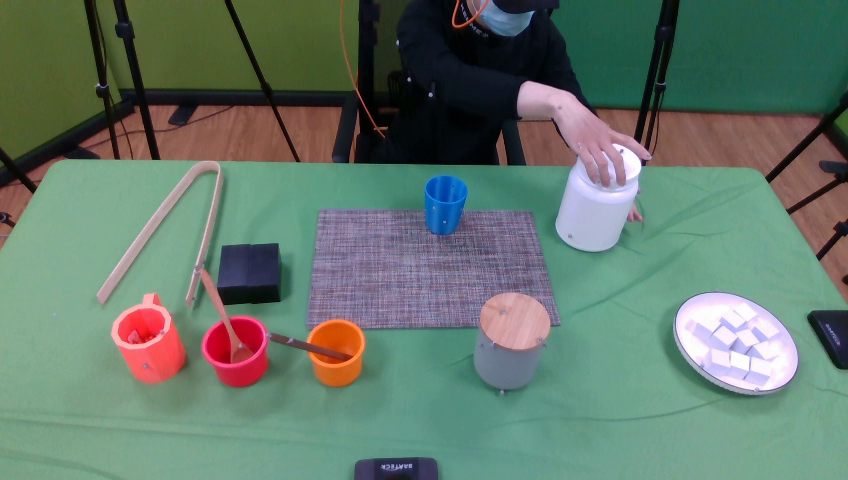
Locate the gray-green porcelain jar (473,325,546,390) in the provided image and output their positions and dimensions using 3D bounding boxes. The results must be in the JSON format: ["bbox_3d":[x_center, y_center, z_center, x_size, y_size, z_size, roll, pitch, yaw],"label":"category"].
[{"bbox_3d":[0.135,0.170,0.969,0.106,0.127,0.105,2,46,-2],"label":"gray-green porcelain jar"}]

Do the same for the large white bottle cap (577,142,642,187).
[{"bbox_3d":[0.343,-0.142,1.123,0.115,0.018,0.114,1,46,-1],"label":"large white bottle cap"}]

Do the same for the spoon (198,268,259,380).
[{"bbox_3d":[-0.313,0.132,0.962,0.041,0.021,0.194,-24,96,-21],"label":"spoon"}]

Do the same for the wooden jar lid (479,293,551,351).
[{"bbox_3d":[0.137,0.127,0.925,0.108,0.021,0.107,1,47,-1],"label":"wooden jar lid"}]

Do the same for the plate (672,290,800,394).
[{"bbox_3d":[0.533,0.178,1.050,0.208,0.039,0.206,2,46,-2],"label":"plate"}]

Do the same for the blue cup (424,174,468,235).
[{"bbox_3d":[0.039,-0.065,1.201,0.093,0.101,0.092,3,47,-3],"label":"blue cup"}]

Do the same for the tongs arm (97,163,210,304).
[{"bbox_3d":[-0.520,-0.028,1.183,0.028,0.028,0.385,5,45,12],"label":"tongs arm"}]

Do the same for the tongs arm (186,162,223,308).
[{"bbox_3d":[-0.436,-0.024,1.181,0.051,0.026,0.382,-2,45,0],"label":"tongs arm"}]

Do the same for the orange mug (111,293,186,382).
[{"bbox_3d":[-0.435,0.149,0.969,0.083,0.101,0.125,-5,51,-8],"label":"orange mug"}]

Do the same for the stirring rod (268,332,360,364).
[{"bbox_3d":[-0.167,0.169,0.942,0.177,0.006,0.014,26,25,-41],"label":"stirring rod"}]

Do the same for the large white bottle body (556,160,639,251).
[{"bbox_3d":[0.340,-0.082,1.186,0.131,0.185,0.130,2,46,-2],"label":"large white bottle body"}]
